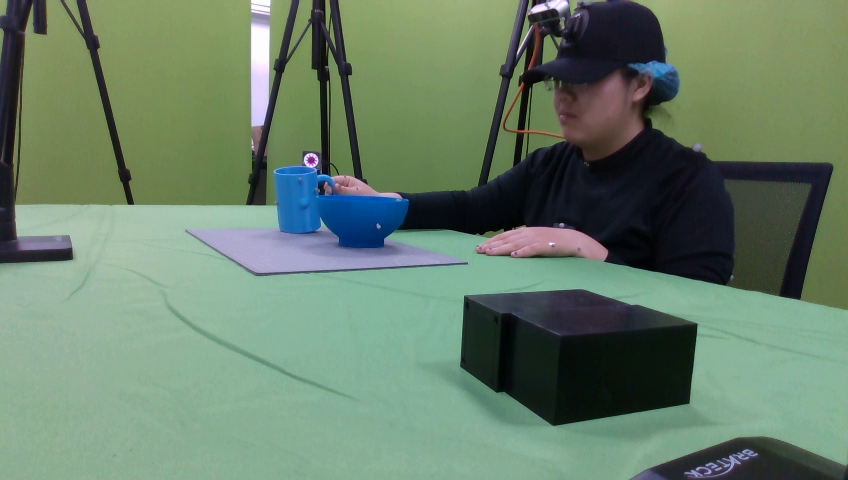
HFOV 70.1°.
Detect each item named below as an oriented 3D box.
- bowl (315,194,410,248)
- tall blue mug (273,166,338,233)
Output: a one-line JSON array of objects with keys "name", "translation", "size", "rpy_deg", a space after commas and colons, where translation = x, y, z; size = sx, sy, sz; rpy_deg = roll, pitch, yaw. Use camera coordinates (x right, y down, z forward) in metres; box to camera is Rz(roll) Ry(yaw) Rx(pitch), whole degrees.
[{"name": "bowl", "translation": [-0.100, -0.030, 0.971], "size": [0.151, 0.077, 0.151], "rpy_deg": [2, 7, 0]}, {"name": "tall blue mug", "translation": [-0.221, -0.079, 1.113], "size": [0.077, 0.108, 0.107], "rpy_deg": [11, 22, 32]}]
